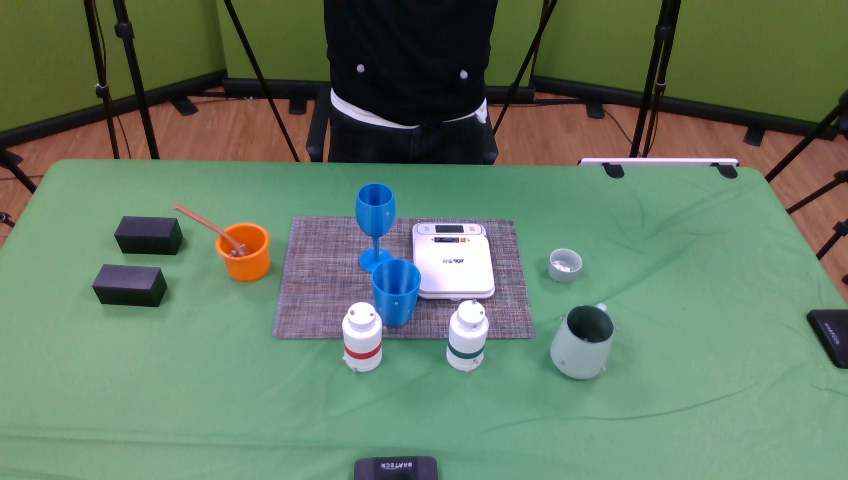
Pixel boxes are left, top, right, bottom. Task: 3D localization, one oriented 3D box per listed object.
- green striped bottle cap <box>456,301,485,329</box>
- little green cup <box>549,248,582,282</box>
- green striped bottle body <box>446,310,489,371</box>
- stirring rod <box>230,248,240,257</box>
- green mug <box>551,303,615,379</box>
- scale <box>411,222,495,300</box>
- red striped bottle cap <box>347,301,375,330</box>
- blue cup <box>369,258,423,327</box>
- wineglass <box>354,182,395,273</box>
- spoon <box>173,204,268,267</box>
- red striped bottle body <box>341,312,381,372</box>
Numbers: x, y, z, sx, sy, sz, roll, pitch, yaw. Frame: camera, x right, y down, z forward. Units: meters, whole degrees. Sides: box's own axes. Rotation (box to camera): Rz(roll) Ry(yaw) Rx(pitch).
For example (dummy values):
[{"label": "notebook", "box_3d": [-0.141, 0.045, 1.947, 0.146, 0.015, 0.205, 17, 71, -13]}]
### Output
[{"label": "green striped bottle cap", "box_3d": [0.073, 0.116, 0.943, 0.044, 0.020, 0.044, 3, 46, -3]}, {"label": "little green cup", "box_3d": [0.268, 0.050, 1.156, 0.061, 0.039, 0.061, 2, 46, -1]}, {"label": "green striped bottle body", "box_3d": [0.070, 0.155, 0.984, 0.063, 0.120, 0.063, 2, 46, -2]}, {"label": "stirring rod", "box_3d": [-0.330, 0.023, 1.059, 0.014, 0.176, 0.006, 33, 79, -11]}, {"label": "green mug", "box_3d": [0.271, 0.157, 1.007, 0.092, 0.105, 0.125, 27, 50, 21]}, {"label": "scale", "box_3d": [0.052, 0.031, 1.158, 0.149, 0.032, 0.199, 1, 46, -4]}, {"label": "red striped bottle cap", "box_3d": [-0.097, 0.116, 0.934, 0.044, 0.018, 0.044, 3, 49, -3]}, {"label": "blue cup", "box_3d": [-0.051, 0.097, 1.039, 0.093, 0.101, 0.092, 3, 43, -2]}, {"label": "wineglass", "box_3d": [-0.089, -0.020, 1.098, 0.074, 0.173, 0.073, 2, 46, -2]}, {"label": "spoon", "box_3d": [-0.363, -0.009, 1.089, 0.021, 0.195, 0.041, -35, 31, 23]}, {"label": "red striped bottle body", "box_3d": [-0.100, 0.154, 0.972, 0.063, 0.120, 0.062, 2, 46, -2]}]
